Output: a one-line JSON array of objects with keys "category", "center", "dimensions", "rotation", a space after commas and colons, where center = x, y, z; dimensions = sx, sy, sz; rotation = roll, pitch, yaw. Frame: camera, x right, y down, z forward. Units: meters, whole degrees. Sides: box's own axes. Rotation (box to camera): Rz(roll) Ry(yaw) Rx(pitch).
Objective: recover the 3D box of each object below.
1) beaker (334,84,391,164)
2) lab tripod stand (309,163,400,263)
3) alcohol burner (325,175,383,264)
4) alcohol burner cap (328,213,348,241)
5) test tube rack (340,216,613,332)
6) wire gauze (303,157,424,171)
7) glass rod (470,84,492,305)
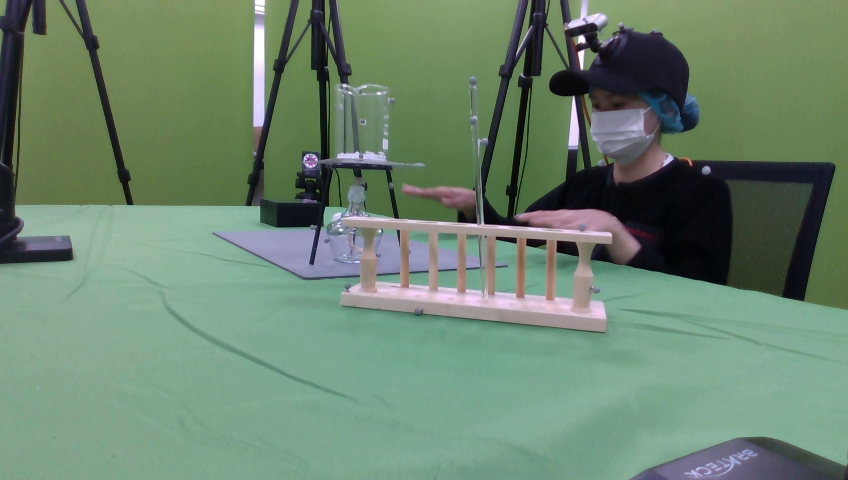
[{"category": "beaker", "center": [-0.082, -0.149, 0.791], "dimensions": [0.074, 0.100, 0.084], "rotation": [2, 5, 5]}, {"category": "lab tripod stand", "center": [-0.091, -0.037, 0.813], "dimensions": [0.148, 0.131, 0.148], "rotation": [1, 6, 0]}, {"category": "alcohol burner", "center": [-0.093, -0.028, 0.816], "dimensions": [0.078, 0.119, 0.078], "rotation": [3, 5, 0]}, {"category": "alcohol burner cap", "center": [-0.148, -0.024, 1.050], "dimensions": [0.034, 0.048, 0.034], "rotation": [3, 7, 0]}, {"category": "test tube rack", "center": [0.048, 0.026, 0.568], "dimensions": [0.242, 0.085, 0.067], "rotation": [4, 8, 13]}, {"category": "wire gauze", "center": [-0.082, -0.102, 0.799], "dimensions": [0.126, 0.011, 0.121], "rotation": [1, 7, -30]}, {"category": "glass rod", "center": [0.051, -0.036, 0.535], "dimensions": [0.008, 0.199, 0.008], "rotation": [-5, 10, 1]}]
